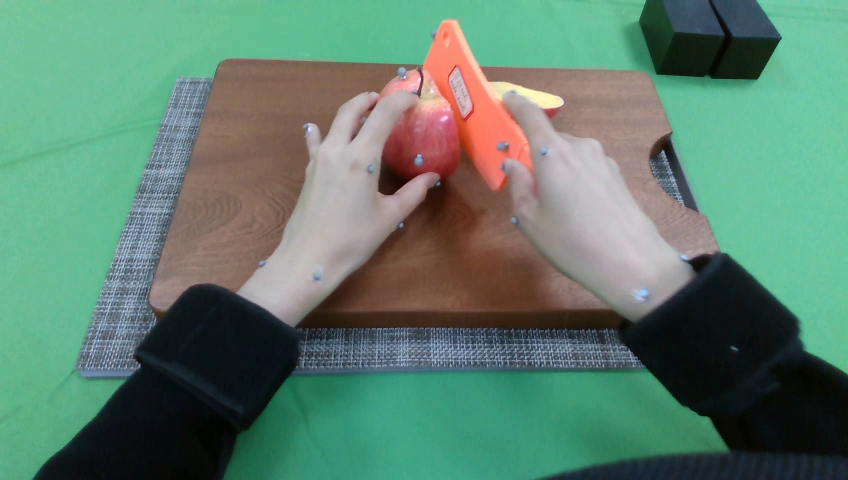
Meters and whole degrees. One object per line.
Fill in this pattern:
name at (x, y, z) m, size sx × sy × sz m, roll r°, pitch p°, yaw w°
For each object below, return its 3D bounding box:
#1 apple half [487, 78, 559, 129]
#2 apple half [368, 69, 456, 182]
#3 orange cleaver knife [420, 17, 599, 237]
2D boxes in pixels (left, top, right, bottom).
apple half at (0.068, -0.108, 0.500) m, size 0.081 × 0.033 × 0.080 m, roll 8°, pitch 28°, yaw -4°
apple half at (-0.015, -0.081, 0.454) m, size 0.053 × 0.075 × 0.080 m, roll -19°, pitch 60°, yaw -13°
orange cleaver knife at (0.049, -0.073, 0.425) m, size 0.012 × 0.077 × 0.209 m, roll -17°, pitch 59°, yaw -24°
